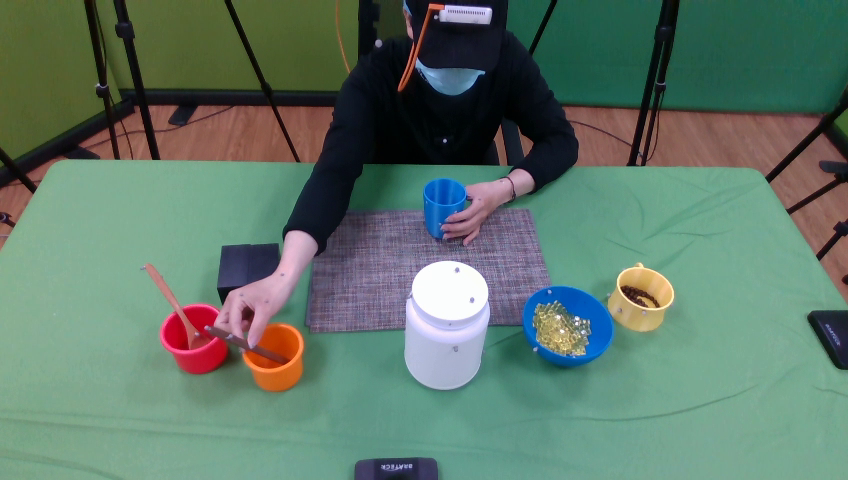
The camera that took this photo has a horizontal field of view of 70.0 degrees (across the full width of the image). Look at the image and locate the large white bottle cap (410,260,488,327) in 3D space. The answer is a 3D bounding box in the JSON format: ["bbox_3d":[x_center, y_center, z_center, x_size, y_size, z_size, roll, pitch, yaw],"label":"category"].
[{"bbox_3d":[0.037,0.077,0.893,0.115,0.018,0.114,2,46,-2],"label":"large white bottle cap"}]

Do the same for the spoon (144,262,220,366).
[{"bbox_3d":[-0.389,0.118,0.971,0.041,0.021,0.194,-34,101,-33],"label":"spoon"}]

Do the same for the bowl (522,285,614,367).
[{"bbox_3d":[0.235,0.158,1.022,0.151,0.077,0.150,2,46,-2],"label":"bowl"}]

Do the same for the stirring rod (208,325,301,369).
[{"bbox_3d":[-0.256,0.166,0.929,0.006,0.177,0.014,-36,44,20],"label":"stirring rod"}]

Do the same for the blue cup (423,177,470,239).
[{"bbox_3d":[0.038,-0.058,1.195,0.093,0.101,0.092,1,45,-1],"label":"blue cup"}]

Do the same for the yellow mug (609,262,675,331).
[{"bbox_3d":[0.393,0.094,1.103,0.100,0.064,0.130,7,45,3],"label":"yellow mug"}]

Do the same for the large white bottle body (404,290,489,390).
[{"bbox_3d":[0.034,0.136,0.955,0.131,0.185,0.130,2,46,-2],"label":"large white bottle body"}]
